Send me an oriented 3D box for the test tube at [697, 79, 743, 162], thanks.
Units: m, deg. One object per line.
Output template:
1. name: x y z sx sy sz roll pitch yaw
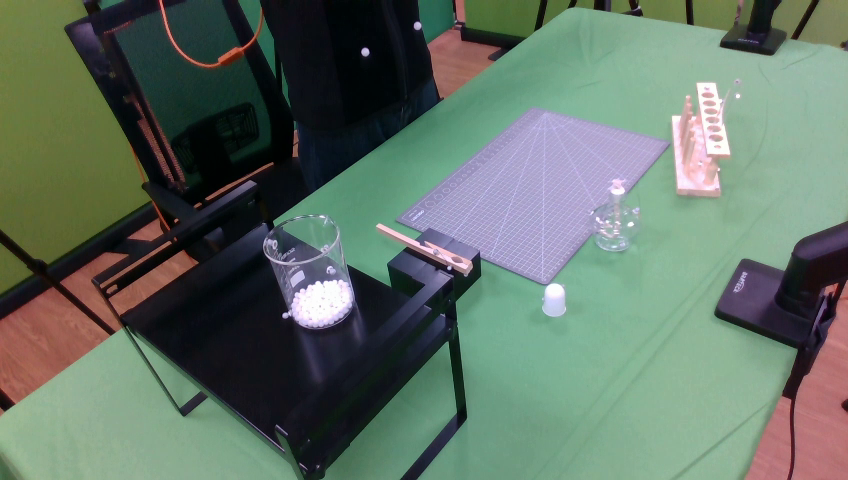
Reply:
1. test tube: 0.486 -0.194 0.998 0.017 0.150 0.017 5 40 -4

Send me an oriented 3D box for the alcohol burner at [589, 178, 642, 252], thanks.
1. alcohol burner: 0.290 -0.042 0.910 0.078 0.119 0.077 -6 40 5

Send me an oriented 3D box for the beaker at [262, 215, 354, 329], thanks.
1. beaker: -0.112 0.034 0.616 0.073 0.101 0.084 13 44 23

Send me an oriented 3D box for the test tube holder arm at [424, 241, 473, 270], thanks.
1. test tube holder arm: 0.033 0.022 0.872 0.087 0.015 0.010 22 50 32

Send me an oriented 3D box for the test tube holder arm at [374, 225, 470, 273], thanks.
1. test tube holder arm: -0.006 0.011 0.893 0.177 0.015 0.013 22 50 32

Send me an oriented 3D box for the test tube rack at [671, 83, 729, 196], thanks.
1. test tube rack: 0.482 -0.184 1.067 0.066 0.085 0.242 5 42 15

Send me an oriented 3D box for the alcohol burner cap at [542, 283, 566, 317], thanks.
1. alcohol burner cap: 0.181 0.080 0.839 0.034 0.048 0.033 -4 40 4
